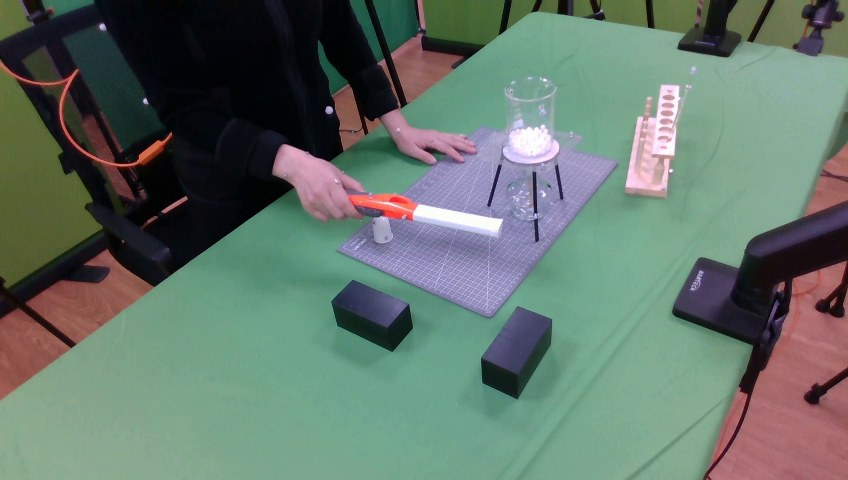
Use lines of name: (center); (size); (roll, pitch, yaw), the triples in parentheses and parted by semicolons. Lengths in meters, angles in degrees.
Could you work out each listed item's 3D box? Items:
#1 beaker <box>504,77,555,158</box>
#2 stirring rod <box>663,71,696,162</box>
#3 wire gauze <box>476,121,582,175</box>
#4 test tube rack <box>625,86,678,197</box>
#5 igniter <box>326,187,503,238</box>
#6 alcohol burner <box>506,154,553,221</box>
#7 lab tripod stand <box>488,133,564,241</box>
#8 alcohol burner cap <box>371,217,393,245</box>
beaker: (0.160, -0.181, 0.900); (0.084, 0.101, 0.073); (-33, 46, -27)
stirring rod: (0.410, -0.195, 0.981); (0.014, 0.177, 0.006); (12, 50, 14)
wire gauze: (0.162, -0.142, 0.929); (0.120, 0.011, 0.125); (19, 49, 32)
test tube rack: (0.412, -0.184, 1.088); (0.066, 0.085, 0.242); (9, 43, 18)
igniter: (-0.021, -0.043, 0.882); (0.275, 0.025, 0.057); (12, 37, 16)
alcohol burner: (0.171, -0.090, 0.984); (0.078, 0.119, 0.077); (-5, 42, 5)
lab tripod stand: (0.168, -0.093, 0.972); (0.148, 0.132, 0.147); (-5, 41, 5)
alcohol burner cap: (-0.070, -0.019, 0.990); (0.034, 0.048, 0.033); (-5, 40, 5)
